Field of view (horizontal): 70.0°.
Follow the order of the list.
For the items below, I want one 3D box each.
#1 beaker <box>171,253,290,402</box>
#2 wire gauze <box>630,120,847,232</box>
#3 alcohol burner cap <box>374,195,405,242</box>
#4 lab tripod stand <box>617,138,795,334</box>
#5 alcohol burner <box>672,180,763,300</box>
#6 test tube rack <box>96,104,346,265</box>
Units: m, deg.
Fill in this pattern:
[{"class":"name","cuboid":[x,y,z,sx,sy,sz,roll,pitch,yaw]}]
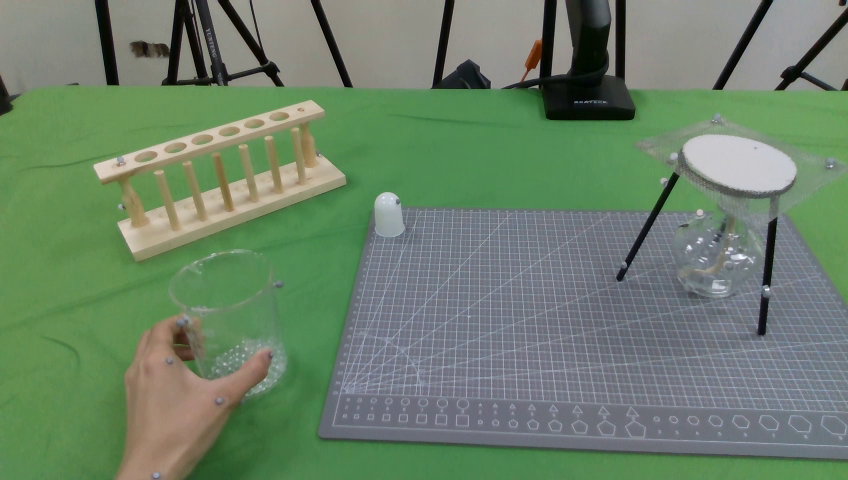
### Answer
[{"class":"beaker","cuboid":[-0.149,0.070,0.477,0.083,0.101,0.074,26,43,34]},{"class":"wire gauze","cuboid":[0.250,-0.061,0.486,0.122,0.011,0.123,-22,44,-24]},{"class":"alcohol burner cap","cuboid":[-0.038,-0.026,0.637,0.034,0.048,0.033,-1,39,1]},{"class":"lab tripod stand","cuboid":[0.257,-0.009,0.529,0.148,0.132,0.147,0,39,0]},{"class":"alcohol burner","cuboid":[0.265,-0.005,0.539,0.078,0.120,0.077,-1,41,1]},{"class":"test tube rack","cuboid":[-0.212,-0.067,0.666,0.243,0.086,0.066,-24,43,-26]}]
